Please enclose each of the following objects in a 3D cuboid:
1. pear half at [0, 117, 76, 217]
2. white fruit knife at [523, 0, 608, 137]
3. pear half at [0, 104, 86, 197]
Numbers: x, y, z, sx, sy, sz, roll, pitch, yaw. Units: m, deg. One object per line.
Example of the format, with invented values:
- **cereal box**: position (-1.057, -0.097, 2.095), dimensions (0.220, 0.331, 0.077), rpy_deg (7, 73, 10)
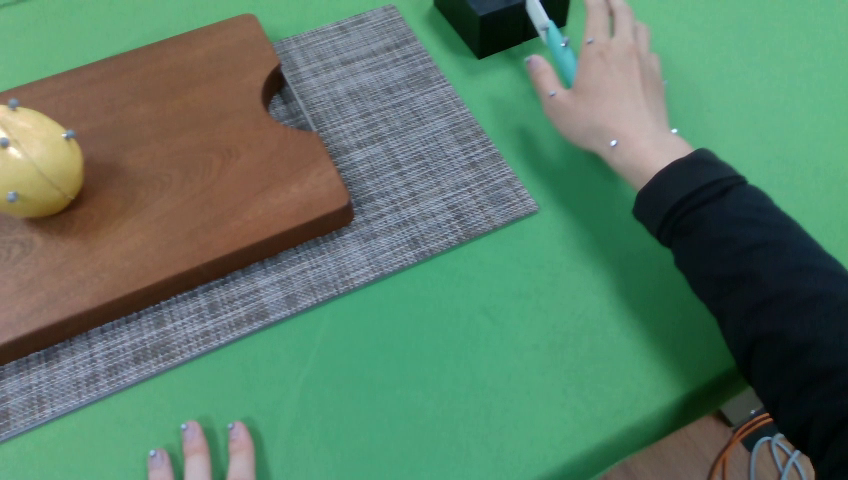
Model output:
- **pear half**: position (-0.311, -0.060, 0.440), dimensions (0.056, 0.111, 0.075), rpy_deg (-38, 59, -19)
- **white fruit knife**: position (0.114, -0.186, 0.548), dimensions (0.016, 0.027, 0.206), rpy_deg (-20, 74, -15)
- **pear half**: position (-0.282, -0.074, 0.459), dimensions (0.031, 0.089, 0.070), rpy_deg (-37, 60, -19)
